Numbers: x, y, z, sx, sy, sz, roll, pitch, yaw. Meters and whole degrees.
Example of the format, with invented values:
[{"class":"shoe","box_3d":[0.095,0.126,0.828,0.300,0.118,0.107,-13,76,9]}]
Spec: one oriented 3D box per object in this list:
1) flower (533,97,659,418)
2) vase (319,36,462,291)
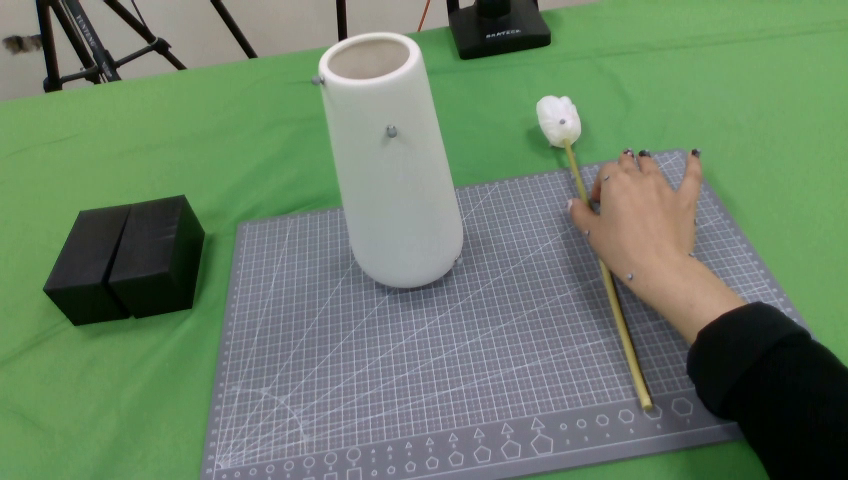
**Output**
[{"class":"flower","box_3d":[0.150,-0.011,0.541,0.044,0.038,0.358,18,44,-26]},{"class":"vase","box_3d":[-0.025,-0.051,0.474,0.098,0.202,0.097,-6,44,6]}]
